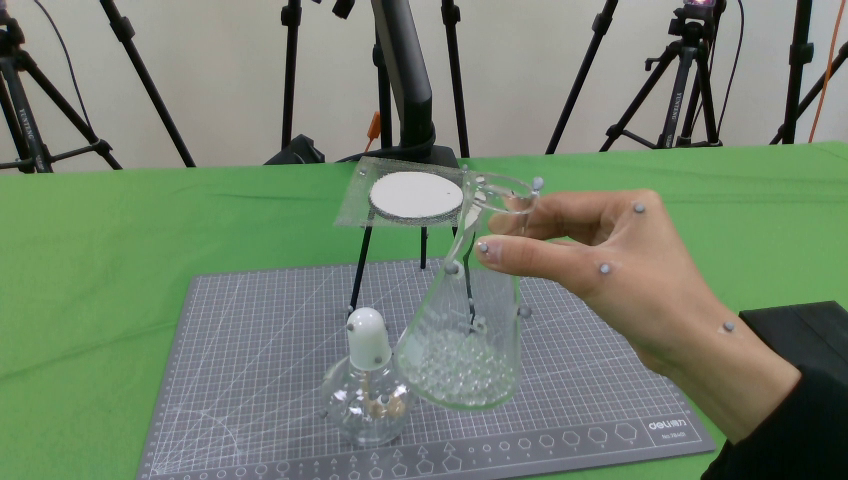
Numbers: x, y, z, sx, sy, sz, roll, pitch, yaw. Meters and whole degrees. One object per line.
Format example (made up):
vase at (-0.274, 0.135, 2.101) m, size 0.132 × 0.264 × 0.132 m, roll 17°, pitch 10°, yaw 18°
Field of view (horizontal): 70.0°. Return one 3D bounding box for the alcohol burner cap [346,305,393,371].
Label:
alcohol burner cap at (-0.042, 0.070, 0.450) m, size 0.034 × 0.048 × 0.033 m, roll -4°, pitch 37°, yaw 3°

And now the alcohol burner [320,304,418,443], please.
alcohol burner at (-0.043, 0.100, 0.471) m, size 0.078 × 0.120 × 0.077 m, roll 0°, pitch 32°, yaw 0°

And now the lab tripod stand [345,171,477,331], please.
lab tripod stand at (-0.006, 0.011, 0.590) m, size 0.148 × 0.132 × 0.147 m, roll 3°, pitch 33°, yaw -1°

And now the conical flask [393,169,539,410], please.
conical flask at (0.028, 0.025, 0.330) m, size 0.075 × 0.122 × 0.075 m, roll 10°, pitch 24°, yaw -4°

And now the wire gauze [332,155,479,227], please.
wire gauze at (-0.011, -0.045, 0.553) m, size 0.121 × 0.011 × 0.124 m, roll 5°, pitch 34°, yaw 4°
